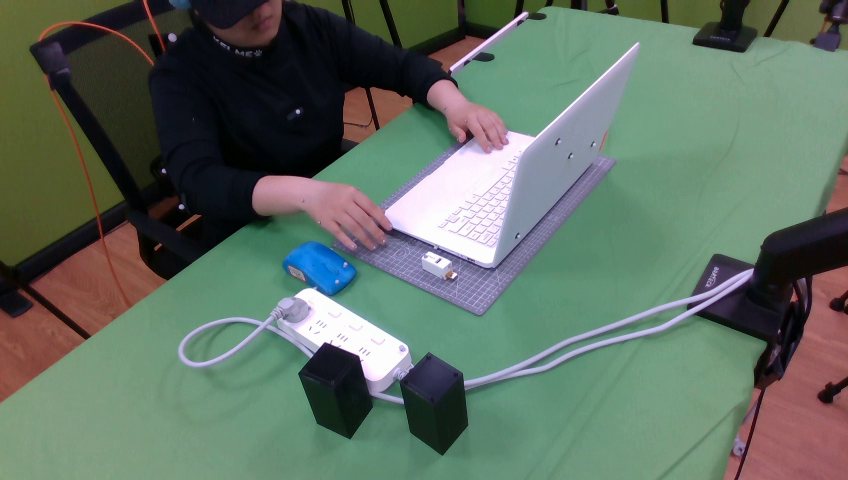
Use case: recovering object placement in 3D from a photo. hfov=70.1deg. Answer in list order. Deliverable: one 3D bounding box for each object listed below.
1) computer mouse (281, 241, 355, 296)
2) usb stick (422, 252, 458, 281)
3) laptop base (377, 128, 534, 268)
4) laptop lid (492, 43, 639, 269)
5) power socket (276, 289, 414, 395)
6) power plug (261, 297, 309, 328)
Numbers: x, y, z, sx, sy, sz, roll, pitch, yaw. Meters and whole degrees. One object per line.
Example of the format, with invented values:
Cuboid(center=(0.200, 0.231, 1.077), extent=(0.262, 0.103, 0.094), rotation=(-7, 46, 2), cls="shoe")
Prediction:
Cuboid(center=(-0.164, 0.041, 0.933), extent=(0.116, 0.041, 0.063), rotation=(27, 48, 27), cls="computer mouse")
Cuboid(center=(0.025, 0.042, 0.908), extent=(0.058, 0.027, 0.021), rotation=(27, 48, 31), cls="usb stick")
Cuboid(center=(0.115, -0.088, 1.059), extent=(0.233, 0.023, 0.355), rotation=(20, 47, 33), cls="laptop base")
Cuboid(center=(0.217, -0.129, 0.911), extent=(0.013, 0.242, 0.358), rotation=(32, 51, 21), cls="laptop lid")
Cuboid(center=(-0.115, 0.133, 0.821), extent=(0.225, 0.033, 0.072), rotation=(26, 49, 33), cls="power socket")
Cuboid(center=(-0.192, 0.107, 0.831), extent=(0.073, 0.053, 0.035), rotation=(-33, 43, -25), cls="power plug")
